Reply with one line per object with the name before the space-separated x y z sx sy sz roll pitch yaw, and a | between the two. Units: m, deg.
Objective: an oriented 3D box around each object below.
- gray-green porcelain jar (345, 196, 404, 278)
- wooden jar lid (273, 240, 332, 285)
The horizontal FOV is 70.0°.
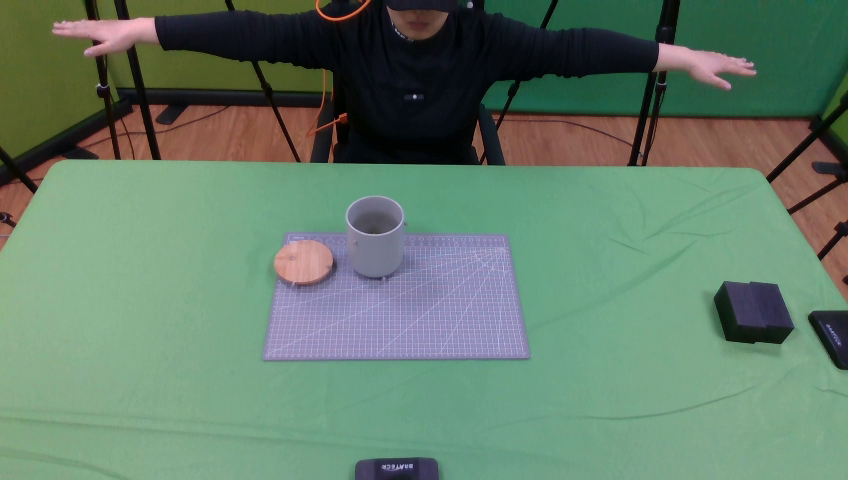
gray-green porcelain jar | -0.091 -0.001 1.117 0.106 0.127 0.105 2 46 -2
wooden jar lid | -0.227 0.044 1.137 0.108 0.021 0.107 3 47 -3
